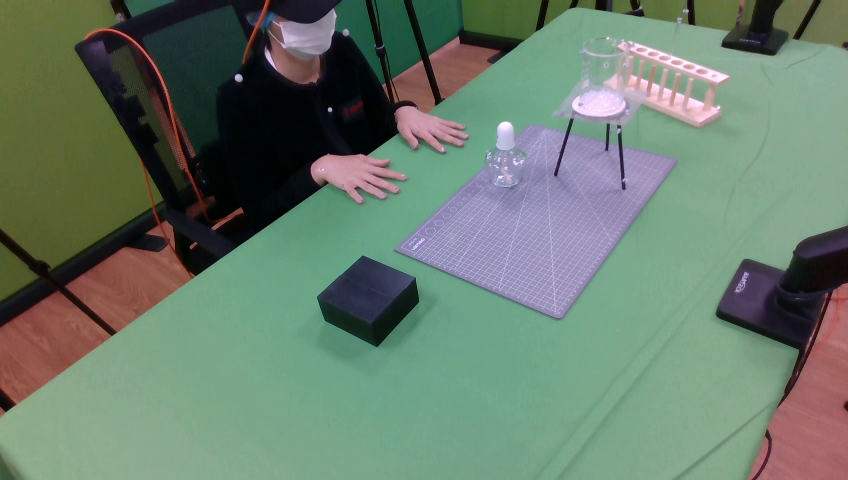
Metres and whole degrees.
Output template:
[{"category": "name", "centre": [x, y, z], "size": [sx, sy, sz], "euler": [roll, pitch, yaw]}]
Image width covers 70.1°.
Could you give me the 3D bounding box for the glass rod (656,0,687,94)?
[{"category": "glass rod", "centre": [0.491, -0.381, 1.199], "size": [0.008, 0.200, 0.008], "euler": [1, 41, 0]}]

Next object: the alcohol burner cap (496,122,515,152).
[{"category": "alcohol burner cap", "centre": [0.139, -0.179, 1.037], "size": [0.034, 0.048, 0.033], "euler": [-4, 44, 4]}]

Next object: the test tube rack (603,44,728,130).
[{"category": "test tube rack", "centre": [0.480, -0.316, 1.227], "size": [0.067, 0.085, 0.240], "euler": [-28, 44, -22]}]

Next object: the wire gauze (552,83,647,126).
[{"category": "wire gauze", "centre": [0.293, -0.224, 1.004], "size": [0.120, 0.011, 0.125], "euler": [19, 43, 26]}]

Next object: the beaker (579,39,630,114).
[{"category": "beaker", "centre": [0.289, -0.263, 0.975], "size": [0.073, 0.101, 0.084], "euler": [17, 45, 27]}]

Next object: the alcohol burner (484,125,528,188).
[{"category": "alcohol burner", "centre": [0.144, -0.152, 1.059], "size": [0.078, 0.119, 0.077], "euler": [-3, 41, 3]}]

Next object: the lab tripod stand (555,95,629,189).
[{"category": "lab tripod stand", "centre": [0.300, -0.174, 1.045], "size": [0.148, 0.132, 0.147], "euler": [-5, 38, 5]}]
